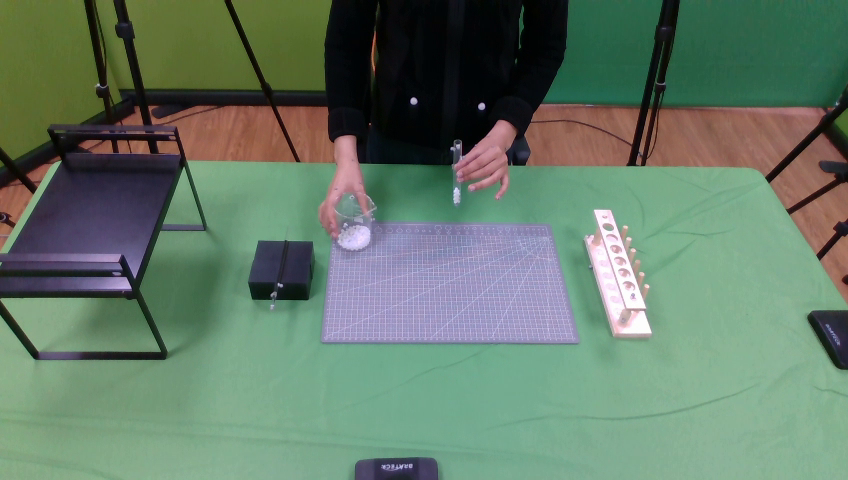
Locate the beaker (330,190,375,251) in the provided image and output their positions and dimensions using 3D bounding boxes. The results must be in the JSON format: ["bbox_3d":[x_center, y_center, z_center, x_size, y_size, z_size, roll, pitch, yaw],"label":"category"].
[{"bbox_3d":[-0.136,-0.034,1.163,0.084,0.101,0.073,3,47,-3],"label":"beaker"}]

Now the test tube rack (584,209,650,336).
[{"bbox_3d":[0.365,0.056,1.129,0.067,0.085,0.240,1,46,-3],"label":"test tube rack"}]

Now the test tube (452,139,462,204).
[{"bbox_3d":[0.061,-0.126,1.138,0.017,0.151,0.017,-1,46,1],"label":"test tube"}]

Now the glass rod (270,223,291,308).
[{"bbox_3d":[-0.255,0.041,1.081,0.008,0.008,0.198,2,46,-2],"label":"glass rod"}]
